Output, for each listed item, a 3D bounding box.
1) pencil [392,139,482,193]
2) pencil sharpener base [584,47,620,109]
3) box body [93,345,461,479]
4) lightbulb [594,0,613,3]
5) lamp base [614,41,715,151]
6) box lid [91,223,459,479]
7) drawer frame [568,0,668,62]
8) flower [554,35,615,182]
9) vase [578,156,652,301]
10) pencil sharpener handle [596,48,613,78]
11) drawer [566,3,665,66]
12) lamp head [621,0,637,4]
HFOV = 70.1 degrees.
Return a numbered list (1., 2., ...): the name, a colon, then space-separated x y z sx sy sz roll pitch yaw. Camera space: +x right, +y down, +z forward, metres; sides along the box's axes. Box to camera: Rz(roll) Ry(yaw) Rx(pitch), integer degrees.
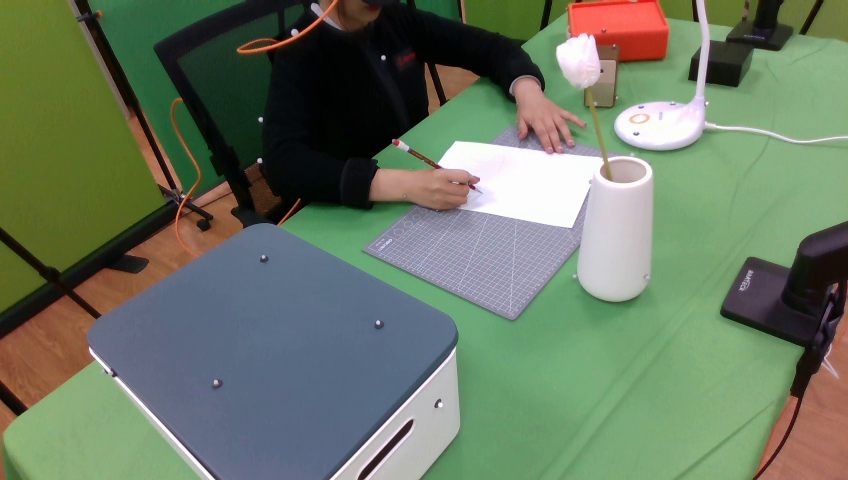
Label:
1. pencil: 0.026 -0.123 1.033 0.195 0.012 0.012 27 30 -28
2. pencil sharpener base: 0.367 -0.336 1.249 0.061 0.107 0.076 6 42 19
3. box body: -0.162 0.170 0.708 0.361 0.161 0.255 25 50 34
4. lightbulb: 0.305 -0.437 0.978 0.060 0.107 0.059 13 43 -11
5. lamp base: 0.449 -0.277 1.106 0.179 0.181 0.160 1 41 9
6. box lid: -0.174 0.103 0.667 0.368 0.015 0.264 24 49 35
7. drawer frame: 0.450 -0.495 1.441 0.213 0.083 0.201 -1 40 9
8. flower: 0.237 -0.083 0.774 0.044 0.363 0.038 -22 26 7
9. vase: 0.261 -0.011 0.812 0.098 0.201 0.097 -4 40 4
10. pencil sharpener handle: 0.382 -0.378 1.276 0.036 0.068 0.030 4 41 21
11. drawer: 0.447 -0.493 1.440 0.211 0.073 0.194 0 40 10
12. lamp head: 0.319 -0.453 0.962 0.113 0.123 0.112 20 33 -13
